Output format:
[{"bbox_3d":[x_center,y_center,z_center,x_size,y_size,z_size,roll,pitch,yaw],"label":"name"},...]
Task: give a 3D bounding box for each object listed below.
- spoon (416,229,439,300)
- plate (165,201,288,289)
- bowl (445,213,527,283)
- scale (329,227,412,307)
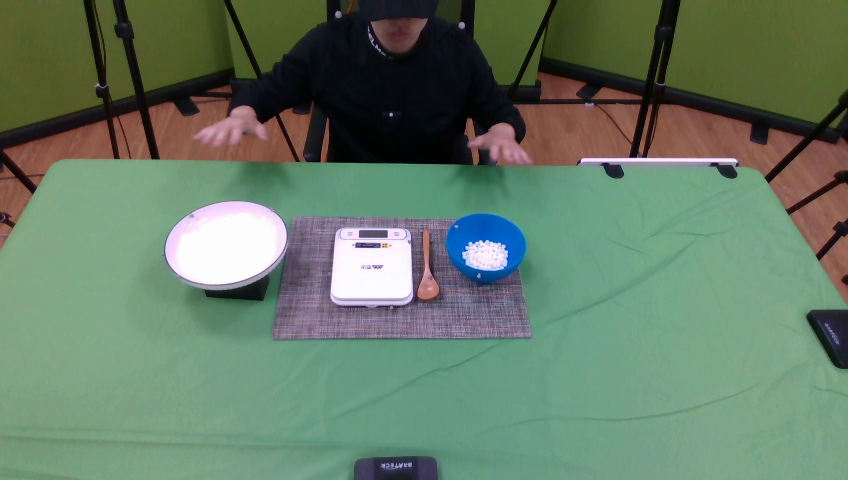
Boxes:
[{"bbox_3d":[0.005,0.043,1.152,0.041,0.022,0.192,-9,46,8],"label":"spoon"},{"bbox_3d":[-0.347,0.011,1.082,0.209,0.038,0.208,2,46,-2],"label":"plate"},{"bbox_3d":[0.112,0.027,1.136,0.151,0.077,0.150,2,46,-2],"label":"bowl"},{"bbox_3d":[-0.099,0.042,1.139,0.149,0.032,0.199,1,46,-4],"label":"scale"}]
